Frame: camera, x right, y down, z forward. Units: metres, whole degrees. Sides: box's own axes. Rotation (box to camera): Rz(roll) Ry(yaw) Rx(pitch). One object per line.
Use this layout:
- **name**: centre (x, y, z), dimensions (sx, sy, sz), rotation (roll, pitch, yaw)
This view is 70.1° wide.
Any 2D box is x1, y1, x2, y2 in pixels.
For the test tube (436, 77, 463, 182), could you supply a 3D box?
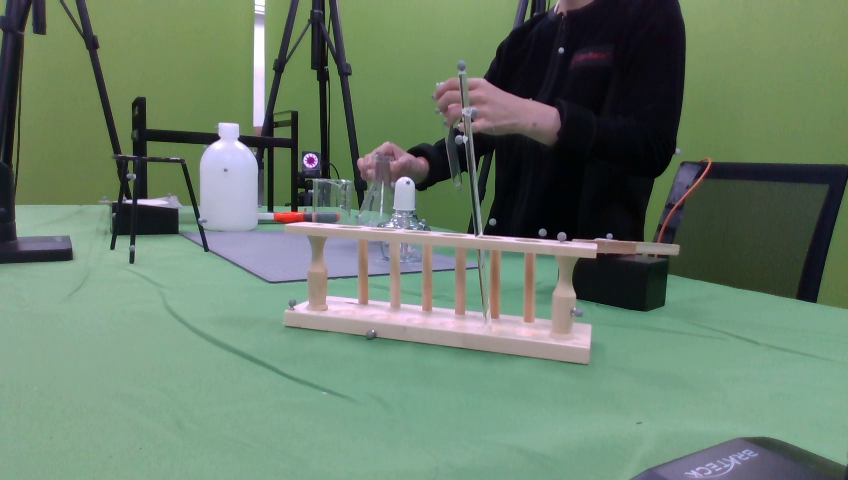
- **test tube**: centre (0.037, -0.158, 0.871), dimensions (0.017, 0.150, 0.017), rotation (-10, 10, 2)

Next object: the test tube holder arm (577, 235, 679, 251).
- **test tube holder arm**: centre (0.226, 0.004, 0.661), dimensions (0.179, 0.015, 0.013), rotation (2, 13, -39)

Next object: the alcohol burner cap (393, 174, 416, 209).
- **alcohol burner cap**: centre (-0.025, -0.067, 0.833), dimensions (0.034, 0.048, 0.034), rotation (4, 12, 0)

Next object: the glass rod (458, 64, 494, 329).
- **glass rod**: centre (0.039, -0.029, 0.449), dimensions (0.008, 0.199, 0.008), rotation (-7, 9, 1)

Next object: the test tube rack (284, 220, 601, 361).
- **test tube rack**: centre (0.013, 0.032, 0.482), dimensions (0.242, 0.085, 0.067), rotation (4, 7, 16)

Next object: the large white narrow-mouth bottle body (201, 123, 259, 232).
- **large white narrow-mouth bottle body**: centre (-0.358, -0.116, 1.116), dimensions (0.102, 0.194, 0.102), rotation (2, 8, 0)

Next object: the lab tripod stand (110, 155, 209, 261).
- **lab tripod stand**: centre (-0.361, -0.046, 0.806), dimensions (0.148, 0.131, 0.148), rotation (2, 5, 0)

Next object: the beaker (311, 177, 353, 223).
- **beaker**: centre (-0.167, -0.064, 1.106), dimensions (0.074, 0.100, 0.083), rotation (-2, 9, -27)

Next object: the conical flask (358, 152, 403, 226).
- **conical flask**: centre (-0.069, -0.084, 1.000), dimensions (0.075, 0.122, 0.075), rotation (4, 8, 0)

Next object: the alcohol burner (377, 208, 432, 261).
- **alcohol burner**: centre (-0.027, -0.031, 0.838), dimensions (0.078, 0.119, 0.078), rotation (0, 6, 0)

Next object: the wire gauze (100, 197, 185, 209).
- **wire gauze**: centre (-0.469, -0.062, 1.008), dimensions (0.126, 0.011, 0.121), rotation (-2, 8, -25)

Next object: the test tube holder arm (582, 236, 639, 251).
- **test tube holder arm**: centre (0.194, 0.004, 0.629), dimensions (0.088, 0.015, 0.010), rotation (2, 13, -38)

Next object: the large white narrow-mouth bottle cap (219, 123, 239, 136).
- **large white narrow-mouth bottle cap**: centre (-0.356, -0.201, 1.104), dimensions (0.038, 0.024, 0.037), rotation (2, 8, 0)

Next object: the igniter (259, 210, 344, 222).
- **igniter**: centre (-0.303, -0.049, 1.258), dimensions (0.278, 0.025, 0.057), rotation (-2, -2, -28)
